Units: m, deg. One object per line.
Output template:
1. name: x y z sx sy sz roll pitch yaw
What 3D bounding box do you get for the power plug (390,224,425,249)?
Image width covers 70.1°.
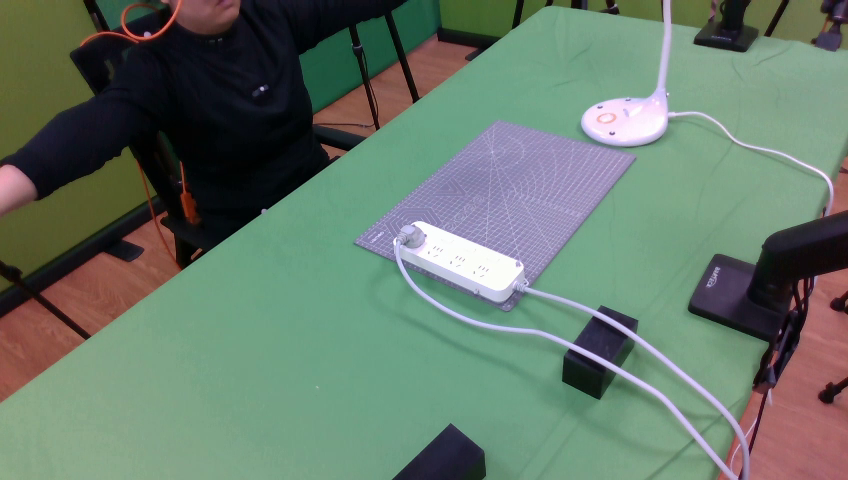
1. power plug: -0.030 0.004 0.920 0.073 0.053 0.035 -34 47 -26

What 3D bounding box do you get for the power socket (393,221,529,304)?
1. power socket: 0.049 0.030 0.914 0.225 0.033 0.072 24 51 31

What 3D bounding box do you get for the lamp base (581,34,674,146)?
1. lamp base: 0.392 -0.291 1.129 0.180 0.181 0.159 -11 41 -8
